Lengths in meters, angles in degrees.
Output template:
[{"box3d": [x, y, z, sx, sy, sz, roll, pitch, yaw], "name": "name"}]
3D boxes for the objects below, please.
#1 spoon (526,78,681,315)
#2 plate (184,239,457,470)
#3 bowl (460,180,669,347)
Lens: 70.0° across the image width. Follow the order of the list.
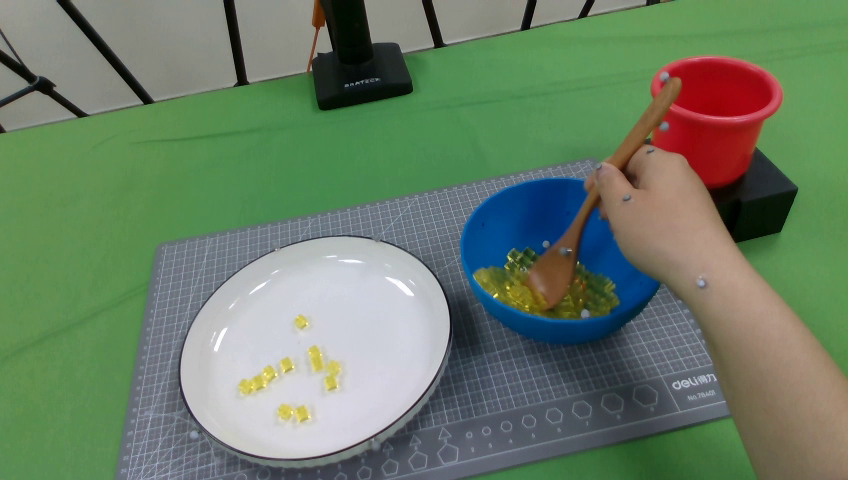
[{"box3d": [0.124, -0.024, 0.429, 0.022, 0.194, 0.041, 7, 32, -27], "name": "spoon"}, {"box3d": [-0.077, 0.083, 0.474, 0.207, 0.039, 0.205, -4, 45, 5], "name": "plate"}, {"box3d": [0.105, 0.030, 0.471, 0.151, 0.077, 0.150, -4, 45, 5], "name": "bowl"}]
